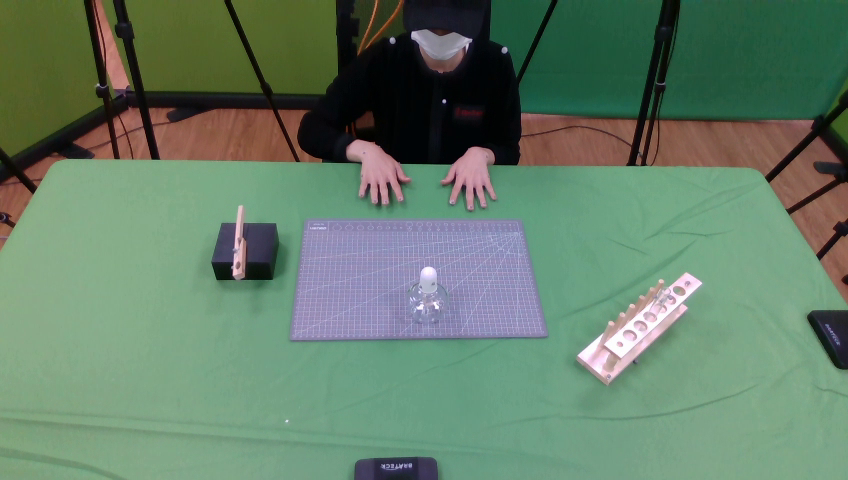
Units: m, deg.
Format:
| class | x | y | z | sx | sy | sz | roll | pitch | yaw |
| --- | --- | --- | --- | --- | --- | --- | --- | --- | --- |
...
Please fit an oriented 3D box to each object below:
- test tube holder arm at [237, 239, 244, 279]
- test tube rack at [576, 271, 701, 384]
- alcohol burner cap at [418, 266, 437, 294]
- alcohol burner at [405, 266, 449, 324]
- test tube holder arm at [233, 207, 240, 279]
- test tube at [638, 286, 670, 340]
| class | x | y | z | sx | sy | sz | roll | pitch | yaw |
| --- | --- | --- | --- | --- | --- | --- | --- | --- | --- |
| test tube holder arm | -0.325 | 0.032 | 1.076 | 0.010 | 0.015 | 0.087 | -10 | 47 | -7 |
| test tube rack | 0.373 | 0.138 | 1.047 | 0.242 | 0.085 | 0.066 | -31 | 56 | -29 |
| alcohol burner cap | 0.006 | 0.065 | 1.017 | 0.034 | 0.048 | 0.033 | 1 | 47 | -1 |
| alcohol burner | 0.005 | 0.089 | 1.043 | 0.078 | 0.120 | 0.077 | 1 | 45 | -1 |
| test tube holder arm | -0.341 | 0.002 | 1.106 | 0.013 | 0.015 | 0.177 | -11 | 47 | -8 |
| test tube | 0.373 | 0.122 | 0.994 | 0.017 | 0.151 | 0.017 | 0 | 51 | 0 |
